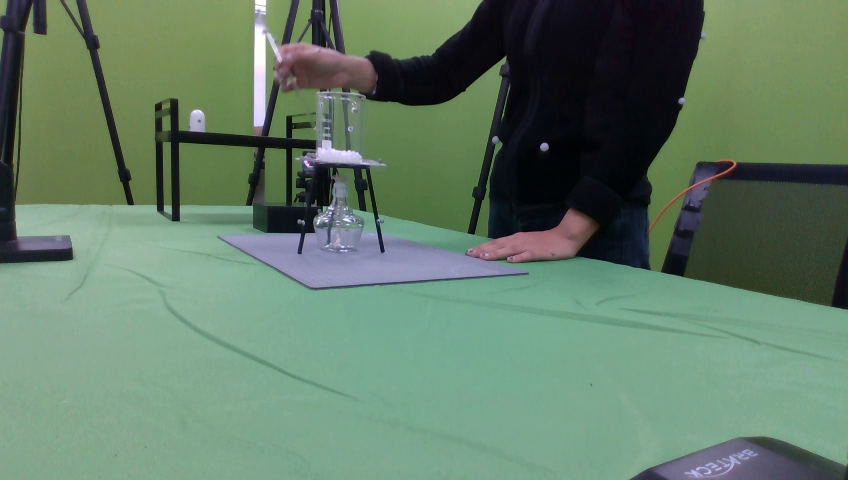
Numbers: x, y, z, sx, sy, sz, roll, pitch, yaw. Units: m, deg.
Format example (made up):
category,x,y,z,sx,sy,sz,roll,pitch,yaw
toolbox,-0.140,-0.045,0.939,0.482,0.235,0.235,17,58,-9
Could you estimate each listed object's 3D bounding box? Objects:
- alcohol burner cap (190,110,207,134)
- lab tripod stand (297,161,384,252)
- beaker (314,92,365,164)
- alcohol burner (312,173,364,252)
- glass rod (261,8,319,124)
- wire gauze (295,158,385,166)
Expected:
category,x,y,z,sx,sy,sz,roll,pitch,yaw
alcohol burner cap,-0.463,-0.242,1.240,0.034,0.048,0.034,2,7,0
lab tripod stand,-0.130,-0.051,0.903,0.148,0.131,0.148,3,9,0
beaker,-0.123,-0.163,0.893,0.073,0.100,0.084,8,9,31
alcohol burner,-0.129,-0.042,0.910,0.078,0.119,0.078,4,8,0
glass rod,-0.218,-0.282,0.986,0.008,0.200,0.008,-24,10,5
wire gauze,-0.128,-0.117,0.901,0.125,0.011,0.121,-1,8,-14
